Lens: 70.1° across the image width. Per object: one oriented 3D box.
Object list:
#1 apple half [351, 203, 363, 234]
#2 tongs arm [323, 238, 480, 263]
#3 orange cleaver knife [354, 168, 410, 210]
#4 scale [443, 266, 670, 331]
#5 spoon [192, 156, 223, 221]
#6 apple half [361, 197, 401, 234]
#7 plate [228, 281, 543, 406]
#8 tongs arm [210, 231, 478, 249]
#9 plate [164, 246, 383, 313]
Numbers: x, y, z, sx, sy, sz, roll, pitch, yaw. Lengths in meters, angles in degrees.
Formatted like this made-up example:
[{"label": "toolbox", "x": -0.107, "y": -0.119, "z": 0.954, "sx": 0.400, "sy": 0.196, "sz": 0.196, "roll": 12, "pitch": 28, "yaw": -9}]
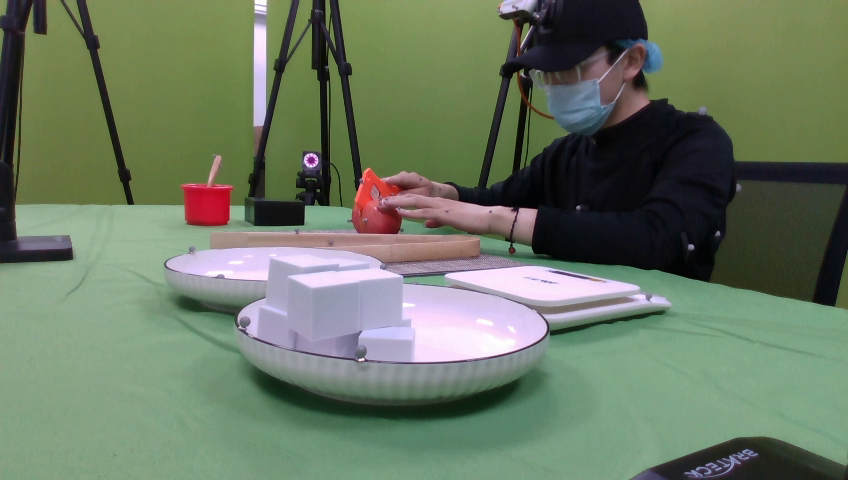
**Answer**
[{"label": "apple half", "x": -0.106, "y": -0.036, "z": 1.025, "sx": 0.032, "sy": 0.081, "sz": 0.081, "roll": 2, "pitch": 7, "yaw": 18}, {"label": "tongs arm", "x": -0.070, "y": 0.017, "z": 0.801, "sx": 0.390, "sy": 0.028, "sz": 0.028, "roll": -2, "pitch": 4, "yaw": -34}, {"label": "orange cleaver knife", "x": -0.070, "y": -0.075, "z": 1.063, "sx": 0.012, "sy": 0.077, "sz": 0.212, "roll": 9, "pitch": 0, "yaw": 20}, {"label": "scale", "x": 0.131, "y": 0.052, "z": 0.603, "sx": 0.202, "sy": 0.031, "sz": 0.148, "roll": -2, "pitch": 9, "yaw": -37}, {"label": "spoon", "x": -0.430, "y": -0.107, "z": 1.222, "sx": 0.041, "sy": 0.021, "sz": 0.193, "roll": -1, "pitch": 52, "yaw": 0}, {"label": "apple half", "x": -0.066, "y": -0.033, "z": 1.013, "sx": 0.053, "sy": 0.074, "sz": 0.081, "roll": 9, "pitch": 6, "yaw": 19}, {"label": "plate", "x": -0.025, "y": 0.067, "z": 0.413, "sx": 0.208, "sy": 0.039, "sz": 0.207, "roll": 3, "pitch": 7, "yaw": 0}, {"label": "tongs arm", "x": -0.106, "y": 0.004, "z": 0.876, "sx": 0.386, "sy": 0.026, "sz": 0.050, "roll": 0, "pitch": 7, "yaw": -20}, {"label": "plate", "x": -0.145, "y": 0.038, "z": 0.600, "sx": 0.209, "sy": 0.038, "sz": 0.209, "roll": 2, "pitch": 7, "yaw": 0}]
